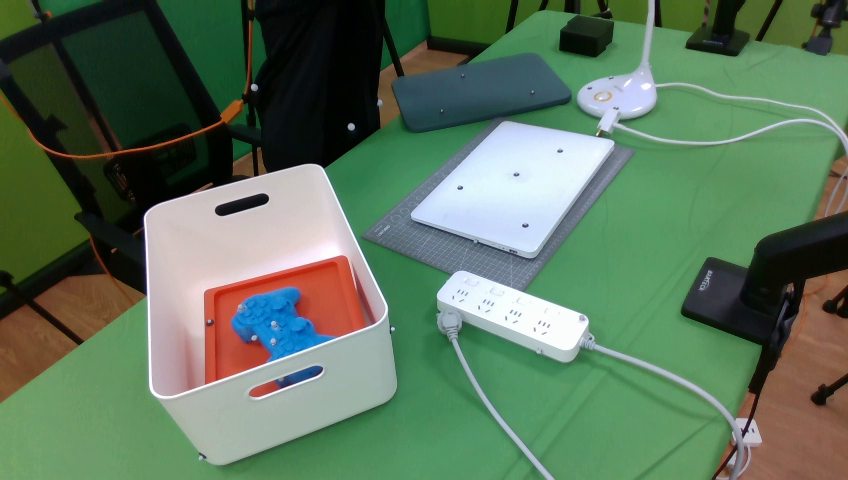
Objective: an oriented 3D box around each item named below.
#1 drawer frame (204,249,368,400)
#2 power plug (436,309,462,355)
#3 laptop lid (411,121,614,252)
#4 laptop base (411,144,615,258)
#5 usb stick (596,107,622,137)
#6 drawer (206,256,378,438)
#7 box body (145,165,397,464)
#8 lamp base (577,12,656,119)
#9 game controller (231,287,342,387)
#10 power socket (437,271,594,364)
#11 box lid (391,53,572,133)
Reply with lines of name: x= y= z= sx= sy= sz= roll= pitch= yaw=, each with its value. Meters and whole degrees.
drawer frame: x=-0.174 y=0.128 z=0.790 sx=0.202 sy=0.083 sz=0.212 roll=-16 pitch=45 yaw=-8
power plug: x=0.032 y=0.126 z=0.810 sx=0.035 sy=0.053 sz=0.072 roll=3 pitch=59 yaw=7
laptop lid: x=0.164 y=-0.112 z=1.068 sx=0.240 sy=0.013 sz=0.357 roll=19 pitch=46 yaw=30
laptop base: x=0.167 y=-0.102 z=1.074 sx=0.234 sy=0.023 sz=0.355 roll=16 pitch=45 yaw=30
usb stick: x=0.355 y=-0.223 z=1.168 sx=0.027 sy=0.059 sz=0.022 roll=37 pitch=14 yaw=34
drawer: x=-0.177 y=0.130 z=0.787 sx=0.195 sy=0.073 sz=0.210 roll=-14 pitch=39 yaw=-9
box body: x=-0.205 y=0.080 z=0.802 sx=0.255 sy=0.161 sz=0.361 roll=-18 pitch=41 yaw=-13
lamp base: x=0.404 y=-0.360 z=1.218 sx=0.180 sy=0.181 sz=0.159 roll=-24 pitch=43 yaw=-23
game controller: x=-0.167 y=0.110 z=0.734 sx=0.097 sy=0.052 sz=0.154 roll=-35 pitch=47 yaw=-22
power socket: x=0.118 y=0.102 z=0.830 sx=0.225 sy=0.033 sz=0.072 roll=20 pitch=48 yaw=28
box lid: x=0.123 y=-0.339 z=1.366 sx=0.372 sy=0.015 sz=0.261 roll=-12 pitch=40 yaw=-5
